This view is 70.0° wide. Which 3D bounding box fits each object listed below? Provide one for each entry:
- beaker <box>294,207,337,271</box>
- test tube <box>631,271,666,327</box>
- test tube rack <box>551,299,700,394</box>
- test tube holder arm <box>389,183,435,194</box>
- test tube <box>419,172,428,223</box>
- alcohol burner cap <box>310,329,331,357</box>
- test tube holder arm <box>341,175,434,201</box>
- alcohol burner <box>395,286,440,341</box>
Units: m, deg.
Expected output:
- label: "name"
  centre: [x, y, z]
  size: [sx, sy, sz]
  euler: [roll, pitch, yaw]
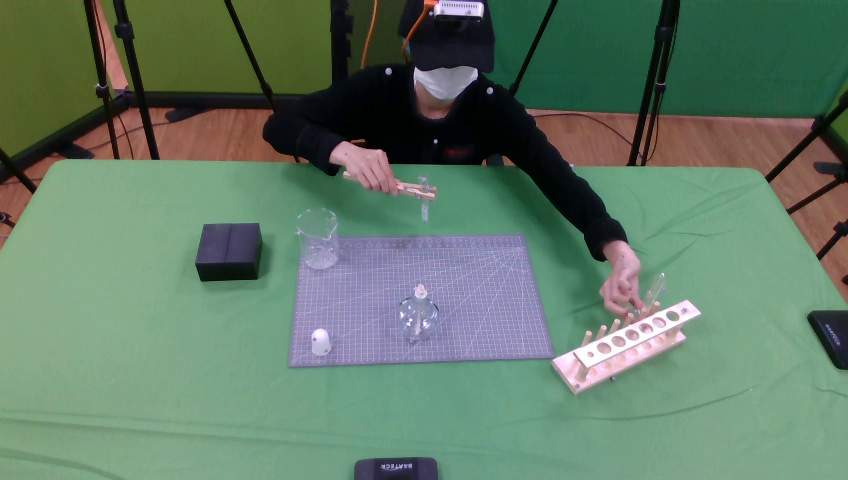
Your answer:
- label: "beaker"
  centre: [-0.196, 0.003, 1.123]
  size: [0.074, 0.101, 0.083]
  euler: [-23, 53, -24]
- label: "test tube"
  centre: [0.368, 0.101, 0.998]
  size: [0.017, 0.151, 0.017]
  euler: [1, 49, -1]
- label: "test tube rack"
  centre: [0.339, 0.166, 1.021]
  size: [0.242, 0.085, 0.066]
  euler: [-19, 50, -21]
- label: "test tube holder arm"
  centre: [-0.023, -0.095, 1.133]
  size: [0.088, 0.015, 0.010]
  euler: [7, 49, 1]
- label: "test tube"
  centre: [0.000, -0.078, 1.146]
  size: [0.017, 0.151, 0.017]
  euler: [0, 58, 1]
- label: "alcohol burner cap"
  centre: [-0.173, 0.168, 1.004]
  size: [0.034, 0.048, 0.033]
  euler: [2, 46, -2]
- label: "test tube holder arm"
  centre: [-0.069, -0.098, 1.132]
  size: [0.178, 0.015, 0.013]
  euler: [11, 49, 5]
- label: "alcohol burner"
  centre: [-0.010, 0.116, 1.018]
  size: [0.078, 0.119, 0.077]
  euler: [3, 47, -3]
